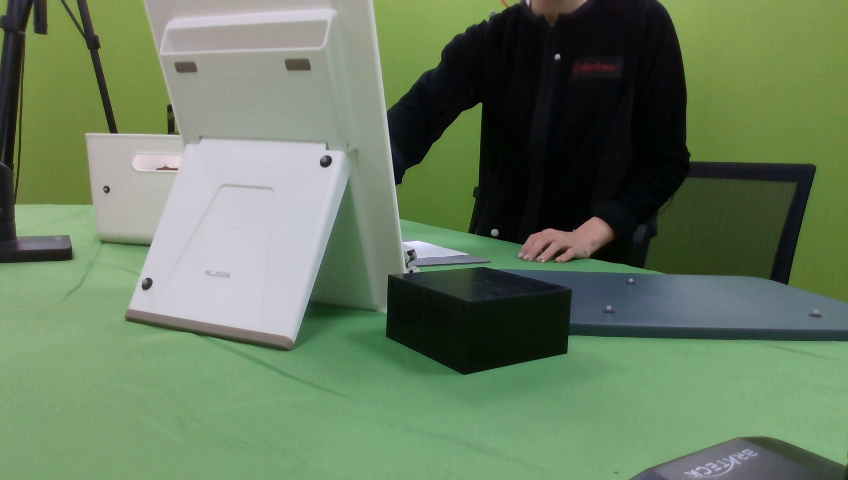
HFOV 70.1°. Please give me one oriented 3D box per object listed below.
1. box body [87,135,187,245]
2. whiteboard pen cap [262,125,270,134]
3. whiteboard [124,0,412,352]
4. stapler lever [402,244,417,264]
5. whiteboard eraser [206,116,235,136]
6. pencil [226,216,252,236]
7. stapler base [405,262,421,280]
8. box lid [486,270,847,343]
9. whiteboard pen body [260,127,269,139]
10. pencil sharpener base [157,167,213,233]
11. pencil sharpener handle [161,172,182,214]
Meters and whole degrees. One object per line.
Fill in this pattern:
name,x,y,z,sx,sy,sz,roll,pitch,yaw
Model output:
box body,-0.338,-0.088,1.022,0.254,0.160,0.364,3,7,9
whiteboard pen cap,-0.349,-0.244,1.336,0.018,0.018,0.033,0,2,-17
whiteboard,-0.151,-0.049,0.472,0.216,0.305,0.144,6,27,24
stapler lever,-0.066,0.003,0.754,0.117,0.040,0.027,9,13,23
whiteboard eraser,-0.450,-0.252,1.335,0.056,0.042,0.112,1,7,-22
pencil,-0.334,-0.026,1.092,0.012,0.012,0.193,2,10,-5
stapler base,-0.069,0.027,0.759,0.130,0.024,0.041,10,14,23
box lid,0.267,0.066,0.643,0.372,0.015,0.263,2,7,-5
whiteboard pen body,-0.366,-0.247,1.392,0.017,0.017,0.140,0,3,-17
pencil sharpener base,-0.406,-0.069,1.025,0.061,0.107,0.077,2,8,9
pencil sharpener handle,-0.410,-0.075,0.973,0.036,0.067,0.031,-11,6,11
